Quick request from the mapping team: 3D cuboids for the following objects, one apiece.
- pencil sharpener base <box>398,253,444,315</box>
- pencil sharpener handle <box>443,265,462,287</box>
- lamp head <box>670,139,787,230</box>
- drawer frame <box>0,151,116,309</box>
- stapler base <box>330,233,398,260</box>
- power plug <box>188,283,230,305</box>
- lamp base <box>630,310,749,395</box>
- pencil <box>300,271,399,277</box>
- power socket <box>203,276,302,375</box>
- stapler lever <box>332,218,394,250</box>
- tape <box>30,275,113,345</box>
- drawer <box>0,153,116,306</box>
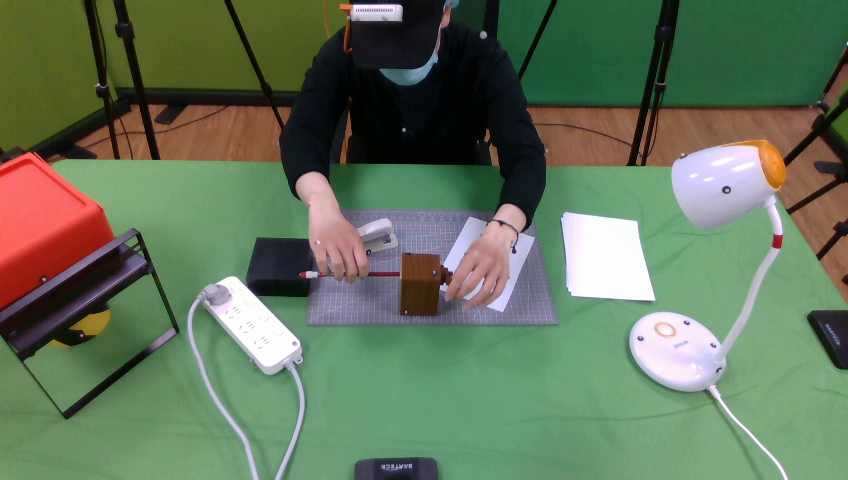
[{"bbox_3d":[-0.006,0.078,1.060,0.077,0.107,0.061,1,46,-3],"label":"pencil sharpener base"},{"bbox_3d":[0.047,0.065,1.028,0.031,0.036,0.067,1,18,-3],"label":"pencil sharpener handle"},{"bbox_3d":[0.415,-0.079,0.812,0.113,0.123,0.112,12,70,-37],"label":"lamp head"},{"bbox_3d":[-0.604,-0.013,0.876,0.201,0.083,0.213,31,52,23],"label":"drawer frame"},{"bbox_3d":[-0.116,0.004,1.181,0.131,0.024,0.041,-13,48,-14],"label":"stapler base"},{"bbox_3d":[-0.368,0.099,1.036,0.072,0.053,0.035,-24,52,-25],"label":"power plug"},{"bbox_3d":[0.447,0.142,0.984,0.161,0.181,0.178,-24,55,-24],"label":"lamp base"},{"bbox_3d":[-0.116,0.057,1.039,0.194,0.012,0.012,-1,46,1],"label":"pencil"},{"bbox_3d":[-0.297,0.141,1.034,0.072,0.033,0.225,-34,58,-30],"label":"power socket"},{"bbox_3d":[-0.116,-0.012,1.162,0.118,0.040,0.026,-13,48,-14],"label":"stapler lever"},{"bbox_3d":[-0.593,0.117,1.021,0.117,0.053,0.116,2,46,-2],"label":"tape"},{"bbox_3d":[-0.601,-0.015,0.880,0.193,0.073,0.211,32,53,23],"label":"drawer"}]
